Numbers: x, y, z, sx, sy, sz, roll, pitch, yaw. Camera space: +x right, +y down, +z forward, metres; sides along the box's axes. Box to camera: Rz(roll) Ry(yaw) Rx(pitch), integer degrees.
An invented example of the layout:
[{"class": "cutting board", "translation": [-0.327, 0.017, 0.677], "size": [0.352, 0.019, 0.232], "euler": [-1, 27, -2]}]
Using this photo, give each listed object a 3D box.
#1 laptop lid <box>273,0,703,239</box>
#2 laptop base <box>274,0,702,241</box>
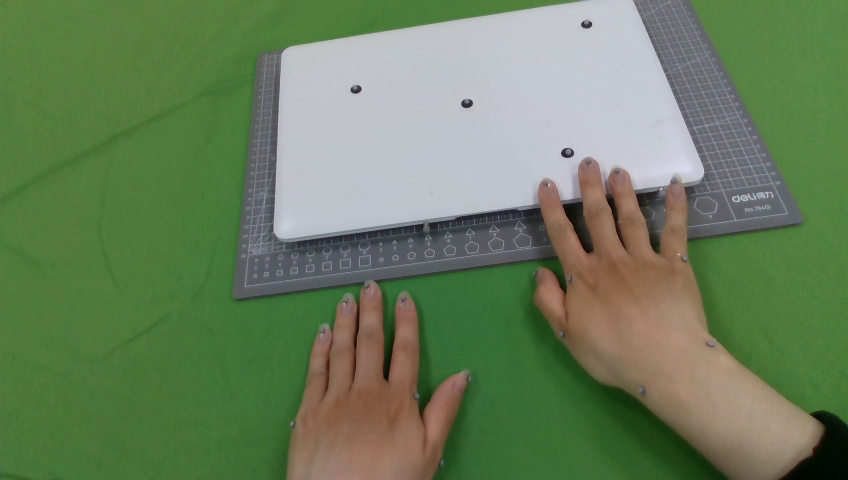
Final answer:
[{"class": "laptop lid", "translation": [0.040, -0.122, 0.544], "size": [0.356, 0.013, 0.239], "euler": [-6, 59, 3]}, {"class": "laptop base", "translation": [0.041, -0.117, 0.555], "size": [0.354, 0.023, 0.233], "euler": [-8, 60, 2]}]
